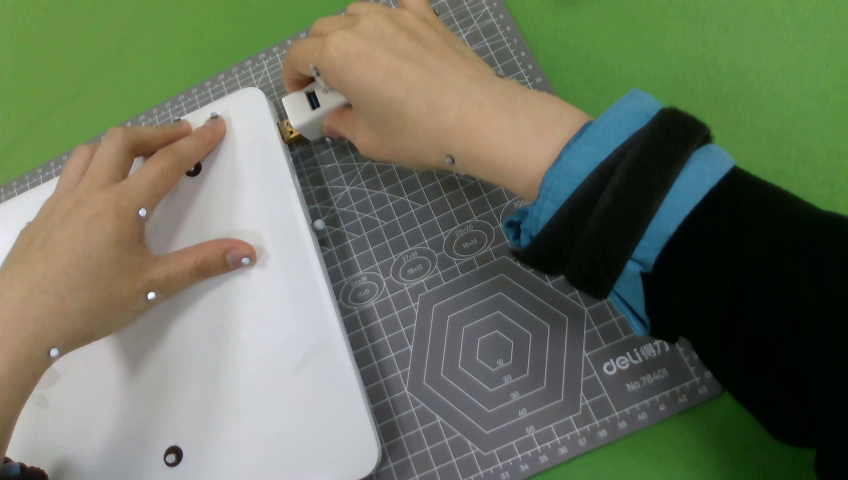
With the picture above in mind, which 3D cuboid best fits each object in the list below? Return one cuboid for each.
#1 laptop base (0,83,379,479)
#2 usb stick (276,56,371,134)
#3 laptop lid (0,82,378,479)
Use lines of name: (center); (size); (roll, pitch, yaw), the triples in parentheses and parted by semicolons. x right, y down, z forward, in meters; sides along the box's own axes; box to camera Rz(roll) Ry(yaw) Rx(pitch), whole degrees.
laptop base: (-0.217, 0.074, 0.353); (0.354, 0.023, 0.234); (-23, 73, 6)
usb stick: (-0.063, -0.079, 0.346); (0.059, 0.027, 0.021); (-24, 77, 12)
laptop lid: (-0.219, 0.073, 0.342); (0.356, 0.013, 0.240); (-22, 72, 6)
